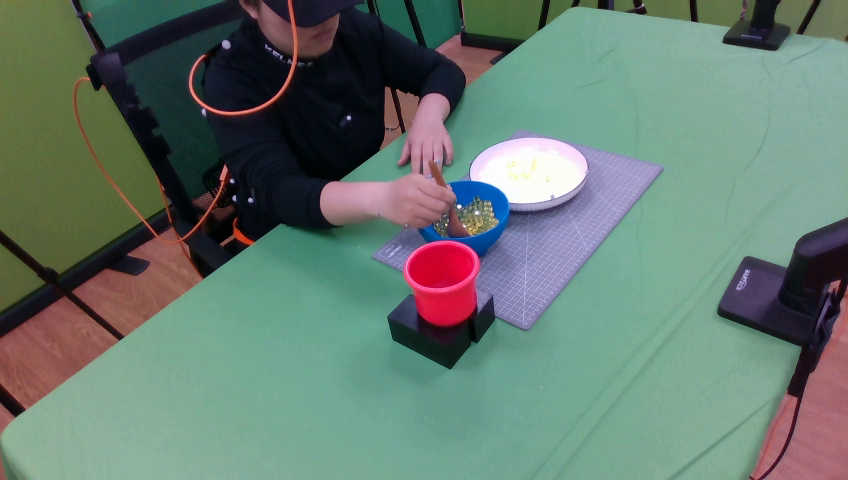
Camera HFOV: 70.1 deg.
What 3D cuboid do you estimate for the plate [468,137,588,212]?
[{"bbox_3d":[0.181,-0.112,1.064,0.207,0.039,0.206,-5,40,5],"label":"plate"}]

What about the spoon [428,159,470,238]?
[{"bbox_3d":[0.035,-0.052,0.879,0.041,0.195,0.021,13,56,28],"label":"spoon"}]

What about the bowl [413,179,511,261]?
[{"bbox_3d":[0.062,-0.021,0.947,0.151,0.077,0.150,-5,40,5],"label":"bowl"}]
